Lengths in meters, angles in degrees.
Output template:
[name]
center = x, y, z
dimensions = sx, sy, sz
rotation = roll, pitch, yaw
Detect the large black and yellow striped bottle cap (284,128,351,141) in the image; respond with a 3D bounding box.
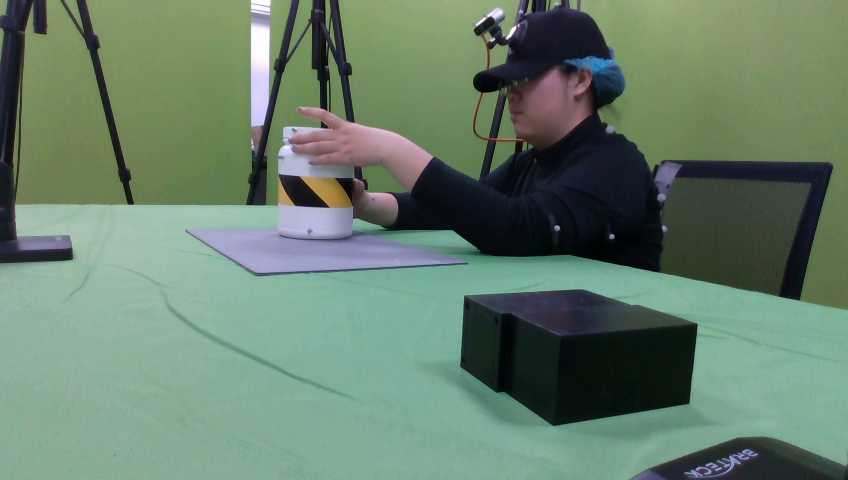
[large black and yellow striped bottle cap]
center = -0.183, -0.181, 1.042
dimensions = 0.115, 0.019, 0.115
rotation = 1, 8, 0

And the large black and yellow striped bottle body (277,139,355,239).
[large black and yellow striped bottle body]
center = -0.187, -0.098, 1.053
dimensions = 0.131, 0.184, 0.130
rotation = 3, 8, 0
